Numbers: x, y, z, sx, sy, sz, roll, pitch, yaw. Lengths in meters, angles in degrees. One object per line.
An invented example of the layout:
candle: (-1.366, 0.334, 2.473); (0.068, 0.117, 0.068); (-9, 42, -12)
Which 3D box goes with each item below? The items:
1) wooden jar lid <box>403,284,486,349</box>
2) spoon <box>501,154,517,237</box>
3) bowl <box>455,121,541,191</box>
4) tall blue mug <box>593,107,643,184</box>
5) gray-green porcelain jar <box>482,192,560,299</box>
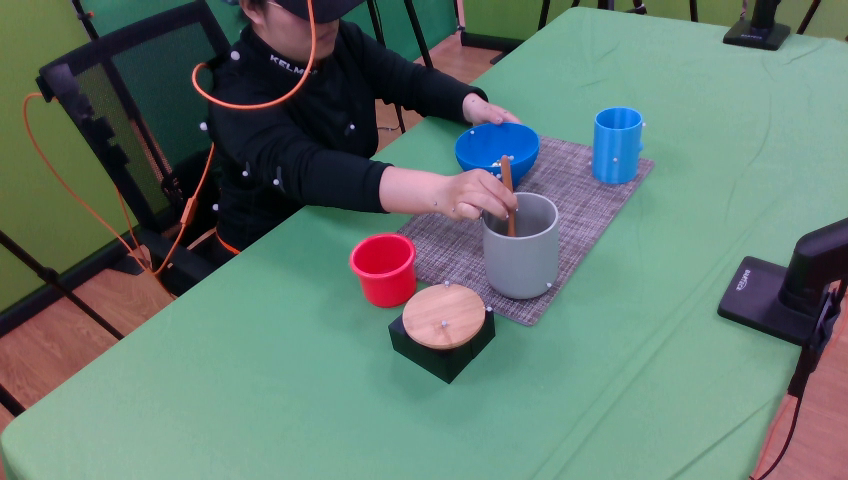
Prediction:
wooden jar lid: (0.027, 0.101, 0.786); (0.108, 0.021, 0.108); (-5, 39, 5)
spoon: (0.119, -0.030, 0.835); (0.041, 0.194, 0.022); (16, 36, 36)
bowl: (0.134, -0.141, 1.078); (0.151, 0.077, 0.150); (-6, 40, 5)
tall blue mug: (0.330, -0.172, 1.052); (0.078, 0.108, 0.106); (-12, 40, 0)
gray-green porcelain jar: (0.139, 0.012, 0.858); (0.106, 0.127, 0.105); (-6, 40, 5)
